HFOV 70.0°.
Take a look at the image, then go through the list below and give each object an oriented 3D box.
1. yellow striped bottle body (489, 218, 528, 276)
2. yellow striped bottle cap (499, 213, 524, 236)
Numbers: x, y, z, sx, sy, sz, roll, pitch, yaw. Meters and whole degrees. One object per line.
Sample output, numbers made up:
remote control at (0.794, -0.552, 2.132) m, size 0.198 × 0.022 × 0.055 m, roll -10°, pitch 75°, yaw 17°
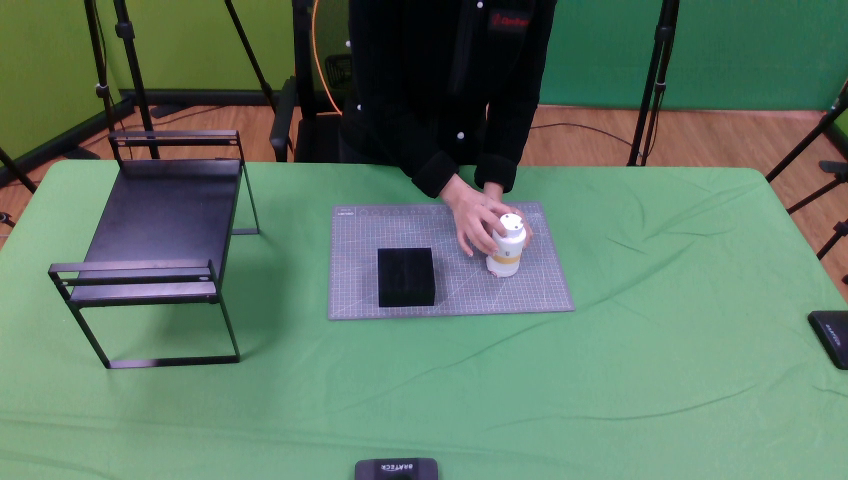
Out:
yellow striped bottle body at (0.157, 0.007, 1.128) m, size 0.063 × 0.121 × 0.062 m, roll 1°, pitch 47°, yaw -1°
yellow striped bottle cap at (0.158, -0.029, 1.090) m, size 0.044 × 0.019 × 0.044 m, roll 4°, pitch 45°, yaw -4°
